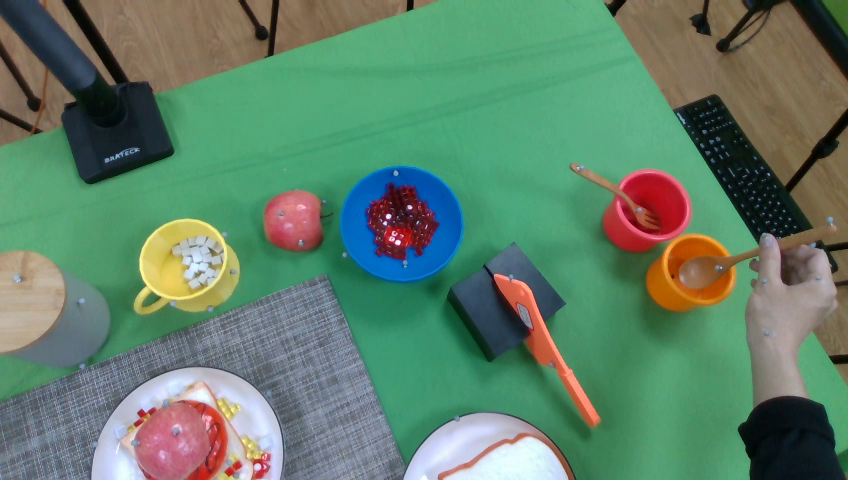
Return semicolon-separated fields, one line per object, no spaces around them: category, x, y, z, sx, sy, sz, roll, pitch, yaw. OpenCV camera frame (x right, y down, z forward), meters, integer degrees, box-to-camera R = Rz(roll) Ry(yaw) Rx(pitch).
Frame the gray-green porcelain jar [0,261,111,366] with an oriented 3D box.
gray-green porcelain jar;-0.421;0.082;0.674;0.106;0.127;0.105;1;71;-4

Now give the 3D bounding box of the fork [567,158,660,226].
fork;0.243;-0.059;0.762;0.209;0.018;0.028;25;64;-41

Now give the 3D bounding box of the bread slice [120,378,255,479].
bread slice;-0.254;0.237;0.679;0.107;0.018;0.134;-40;80;-15

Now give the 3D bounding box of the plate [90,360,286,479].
plate;-0.258;0.241;0.677;0.208;0.039;0.206;1;72;-4

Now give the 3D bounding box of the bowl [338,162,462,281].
bowl;-0.031;-0.013;0.762;0.151;0.077;0.150;1;72;-4

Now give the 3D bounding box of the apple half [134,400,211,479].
apple half;-0.261;0.206;0.621;0.081;0.033;0.081;-1;71;2

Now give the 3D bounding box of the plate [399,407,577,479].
plate;0.072;0.297;0.687;0.209;0.038;0.208;1;72;-3

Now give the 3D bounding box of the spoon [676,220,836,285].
spoon;0.363;0.013;0.680;0.022;0.194;0.041;11;69;-20

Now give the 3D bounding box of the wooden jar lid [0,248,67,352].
wooden jar lid;-0.418;0.061;0.614;0.108;0.021;0.107;2;68;-5

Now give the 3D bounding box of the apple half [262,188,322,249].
apple half;-0.169;-0.032;0.771;0.075;0.053;0.080;-1;72;-2

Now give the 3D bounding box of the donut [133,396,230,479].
donut;-0.261;0.218;0.654;0.099;0.048;0.098;1;72;-3

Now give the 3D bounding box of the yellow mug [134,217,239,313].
yellow mug;-0.293;0.040;0.730;0.099;0.064;0.130;42;74;10

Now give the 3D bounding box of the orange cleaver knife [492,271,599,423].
orange cleaver knife;0.144;0.127;0.727;0.012;0.077;0.212;-33;99;-21
